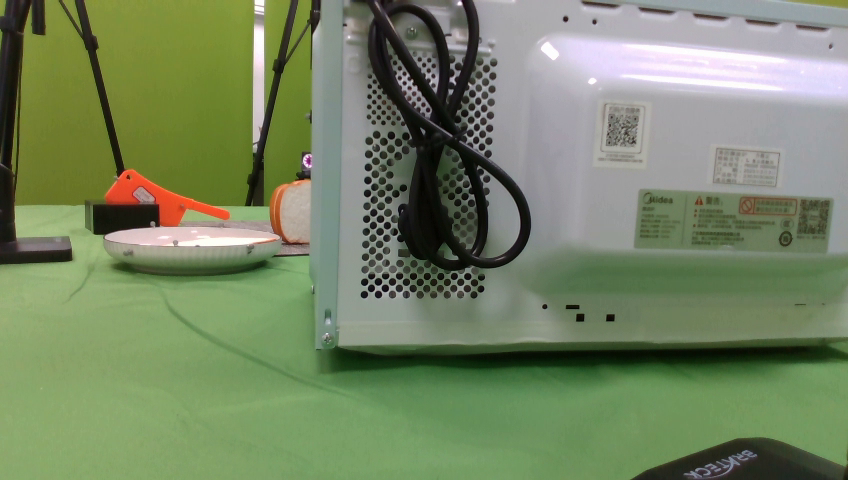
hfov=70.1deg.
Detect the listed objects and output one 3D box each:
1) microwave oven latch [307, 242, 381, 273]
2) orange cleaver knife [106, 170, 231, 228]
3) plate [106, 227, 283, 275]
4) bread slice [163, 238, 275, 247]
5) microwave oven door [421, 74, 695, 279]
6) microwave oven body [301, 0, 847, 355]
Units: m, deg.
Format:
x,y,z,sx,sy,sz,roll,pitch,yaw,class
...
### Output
x,y,z,sx,sy,sz,roll,pitch,yaw,class
-0.086,0.019,0.656,0.079,0.029,0.030,2,7,-10,microwave oven latch
-0.458,-0.060,1.097,0.212,0.077,0.012,23,-4,-38,orange cleaver knife
-0.288,0.013,0.772,0.208,0.039,0.207,2,7,0,plate
-0.268,0.014,0.759,0.106,0.018,0.135,2,8,21,bread slice
0.159,-0.091,0.806,0.354,0.243,0.039,7,9,31,microwave oven door
0.120,-0.053,0.535,0.443,0.260,0.325,2,7,-11,microwave oven body
